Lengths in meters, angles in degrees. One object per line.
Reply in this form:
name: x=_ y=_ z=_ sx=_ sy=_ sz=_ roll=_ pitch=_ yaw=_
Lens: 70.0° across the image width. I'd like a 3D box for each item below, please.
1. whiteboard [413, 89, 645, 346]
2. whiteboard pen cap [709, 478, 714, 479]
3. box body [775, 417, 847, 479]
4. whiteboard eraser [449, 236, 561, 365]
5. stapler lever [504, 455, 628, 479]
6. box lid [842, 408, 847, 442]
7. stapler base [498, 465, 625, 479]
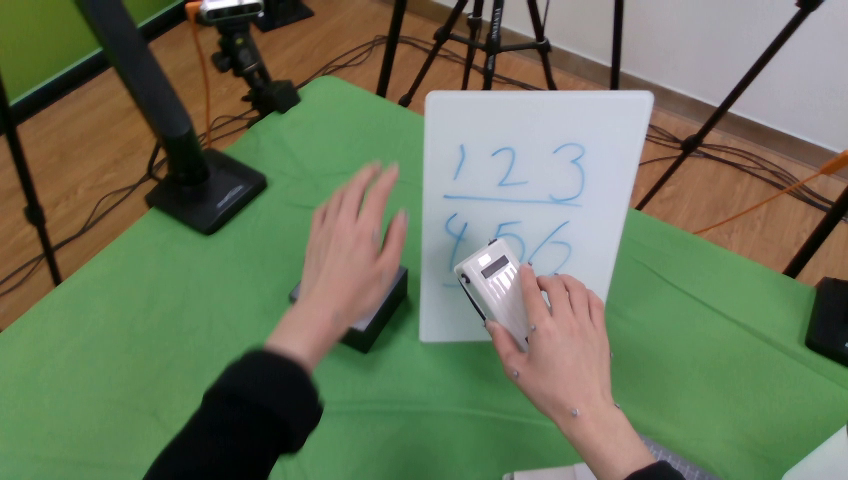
whiteboard: x=0.095 y=-0.044 z=0.695 sx=0.217 sy=0.308 sz=0.142 roll=-1 pitch=33 yaw=-3
whiteboard pen cap: x=0.295 y=0.259 z=0.610 sx=0.018 sy=0.018 sz=0.033 roll=-21 pitch=55 yaw=-19
box body: x=0.515 y=0.306 z=0.496 sx=0.255 sy=0.162 sz=0.360 roll=-11 pitch=53 yaw=-12
whiteboard eraser: x=0.074 y=0.056 z=0.564 sx=0.055 sy=0.042 sz=0.112 roll=-34 pitch=92 yaw=-19
stapler lever: x=0.139 y=0.230 z=0.589 sx=0.118 sy=0.040 sz=0.026 roll=-3 pitch=47 yaw=-2
box lid: x=0.518 y=0.259 z=0.439 sx=0.264 sy=0.015 sz=0.367 roll=-11 pitch=54 yaw=-13
stapler base: x=0.141 y=0.246 z=0.608 sx=0.130 sy=0.024 sz=0.041 roll=-3 pitch=47 yaw=-2
